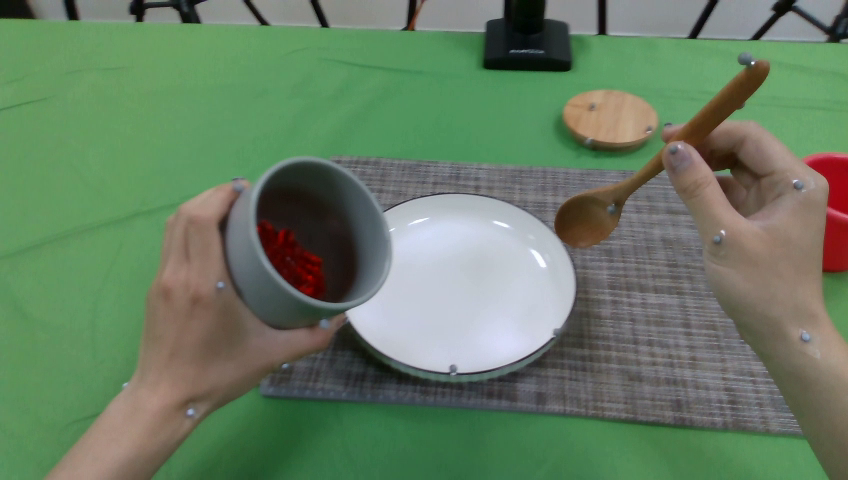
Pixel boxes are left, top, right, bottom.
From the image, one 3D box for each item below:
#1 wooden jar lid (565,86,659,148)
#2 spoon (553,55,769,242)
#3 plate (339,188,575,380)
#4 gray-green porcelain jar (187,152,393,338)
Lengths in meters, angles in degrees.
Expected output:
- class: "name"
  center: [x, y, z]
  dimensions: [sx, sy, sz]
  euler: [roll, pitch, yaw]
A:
- class: "wooden jar lid"
  center: [0.221, -0.145, 0.718]
  dimensions: [0.108, 0.021, 0.107]
  euler: [-1, 48, 1]
- class: "spoon"
  center: [0.135, -0.045, 0.370]
  dimensions: [0.041, 0.194, 0.021]
  euler: [33, 64, -2]
- class: "plate"
  center: [0.026, 0.037, 0.538]
  dimensions: [0.208, 0.039, 0.205]
  euler: [-1, 47, 1]
- class: "gray-green porcelain jar"
  center: [-0.101, 0.011, 0.432]
  dimensions: [0.107, 0.126, 0.105]
  euler: [18, 61, -36]
